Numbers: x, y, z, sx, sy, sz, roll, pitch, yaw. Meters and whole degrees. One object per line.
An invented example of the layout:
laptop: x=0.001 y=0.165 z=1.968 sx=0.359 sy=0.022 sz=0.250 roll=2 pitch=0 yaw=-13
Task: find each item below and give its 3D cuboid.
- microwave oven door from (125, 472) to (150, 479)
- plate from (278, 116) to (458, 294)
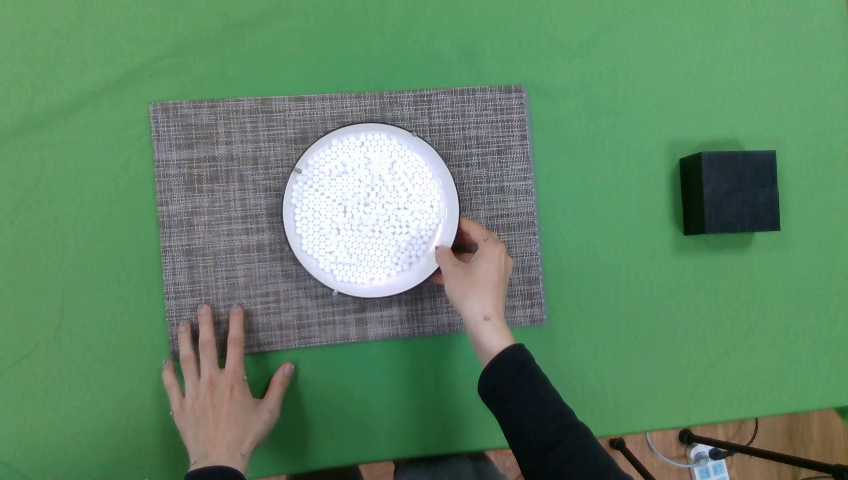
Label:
microwave oven door: x=-0.461 y=0.331 z=0.548 sx=0.356 sy=0.243 sz=0.039 roll=-18 pitch=91 yaw=-7
plate: x=-0.064 y=-0.041 z=0.717 sx=0.209 sy=0.038 sz=0.209 roll=0 pitch=89 yaw=-6
